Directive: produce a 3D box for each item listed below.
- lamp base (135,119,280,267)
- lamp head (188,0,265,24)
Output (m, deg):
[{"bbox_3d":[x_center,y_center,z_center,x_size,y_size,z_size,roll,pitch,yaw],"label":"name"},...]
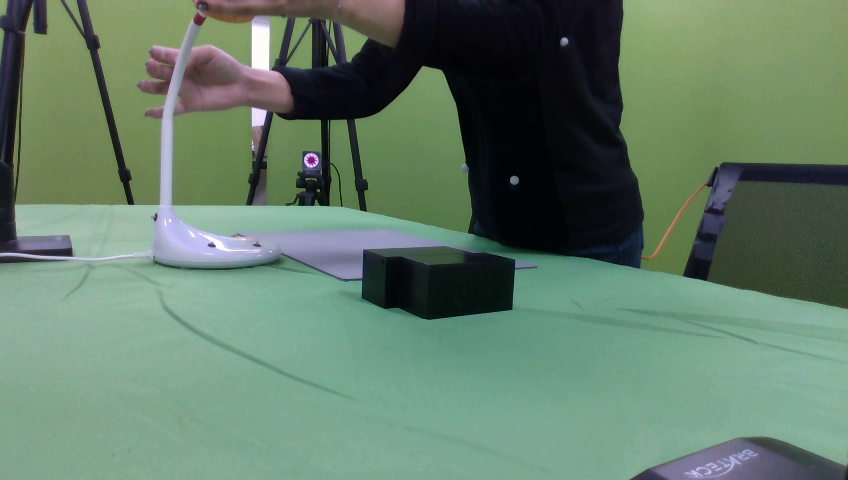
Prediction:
[{"bbox_3d":[-0.276,-0.061,0.773,0.160,0.180,0.180,9,13,44],"label":"lamp base"},{"bbox_3d":[-0.195,-0.278,0.594,0.112,0.122,0.112,7,-1,0],"label":"lamp head"}]
